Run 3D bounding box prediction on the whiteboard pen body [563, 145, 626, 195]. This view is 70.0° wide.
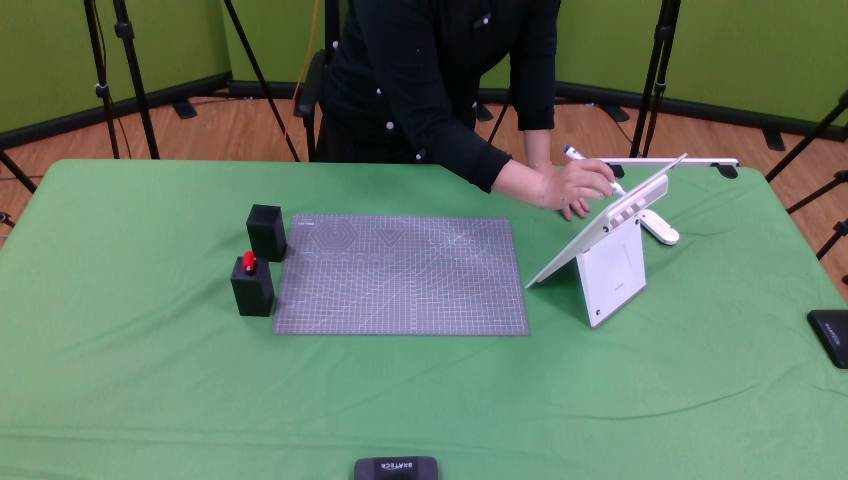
[{"bbox_3d":[0.297,-0.115,1.038,0.140,0.017,0.017,40,53,7],"label":"whiteboard pen body"}]

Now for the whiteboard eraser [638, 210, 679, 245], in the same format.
[{"bbox_3d":[0.486,-0.026,1.260,0.041,0.019,0.100,-21,50,-21],"label":"whiteboard eraser"}]

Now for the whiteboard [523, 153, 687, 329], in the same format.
[{"bbox_3d":[0.347,0.025,1.046,0.217,0.306,0.143,-30,74,-29],"label":"whiteboard"}]

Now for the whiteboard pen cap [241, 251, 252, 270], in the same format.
[{"bbox_3d":[-0.293,0.033,1.006,0.017,0.017,0.032,-3,44,-7],"label":"whiteboard pen cap"}]
